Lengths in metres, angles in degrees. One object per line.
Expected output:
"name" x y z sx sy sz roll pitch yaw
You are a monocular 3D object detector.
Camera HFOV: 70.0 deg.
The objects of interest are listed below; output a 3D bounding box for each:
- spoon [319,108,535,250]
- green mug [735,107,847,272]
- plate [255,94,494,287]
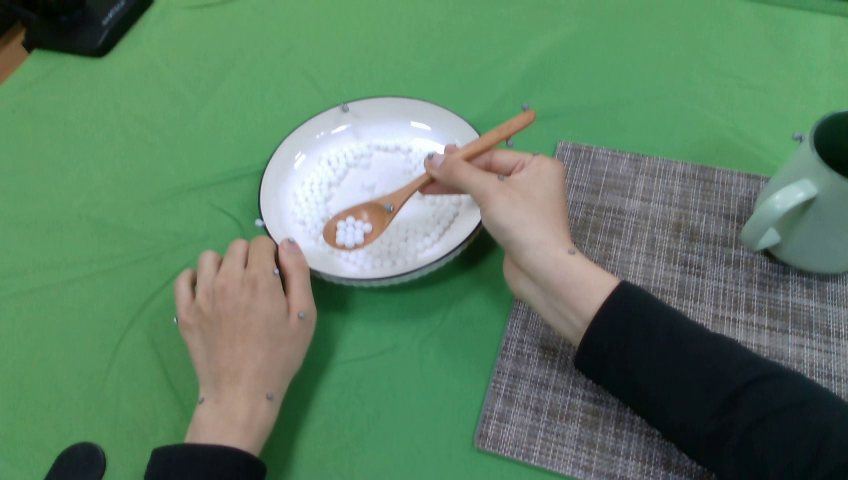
"spoon" 0.004 -0.050 0.473 0.194 0.022 0.041 -33 60 4
"green mug" 0.292 -0.029 0.454 0.125 0.106 0.091 -23 58 -10
"plate" -0.042 -0.045 0.540 0.209 0.038 0.207 -2 56 4
